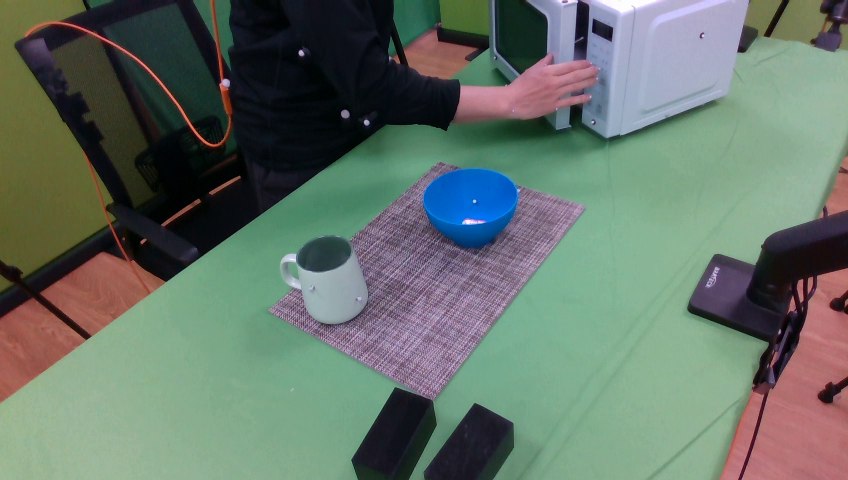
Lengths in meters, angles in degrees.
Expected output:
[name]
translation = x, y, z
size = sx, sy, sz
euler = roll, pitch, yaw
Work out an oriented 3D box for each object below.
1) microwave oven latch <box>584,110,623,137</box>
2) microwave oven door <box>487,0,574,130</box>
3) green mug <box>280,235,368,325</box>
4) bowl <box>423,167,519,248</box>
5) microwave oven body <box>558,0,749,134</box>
[microwave oven latch]
translation = 0.337, -0.222, 1.142
size = 0.030, 0.029, 0.078
euler = -21, 42, -14
[microwave oven door]
translation = 0.207, -0.412, 1.225
size = 0.039, 0.245, 0.353
euler = -16, 41, -10
[green mug]
translation = -0.146, 0.055, 0.857
size = 0.125, 0.105, 0.092
euler = 8, 43, 17
[bowl]
translation = 0.075, -0.041, 0.958
size = 0.151, 0.077, 0.150
euler = -4, 40, 4
[microwave oven body]
translation = 0.382, -0.445, 1.246
size = 0.327, 0.261, 0.437
euler = -22, 42, -16
